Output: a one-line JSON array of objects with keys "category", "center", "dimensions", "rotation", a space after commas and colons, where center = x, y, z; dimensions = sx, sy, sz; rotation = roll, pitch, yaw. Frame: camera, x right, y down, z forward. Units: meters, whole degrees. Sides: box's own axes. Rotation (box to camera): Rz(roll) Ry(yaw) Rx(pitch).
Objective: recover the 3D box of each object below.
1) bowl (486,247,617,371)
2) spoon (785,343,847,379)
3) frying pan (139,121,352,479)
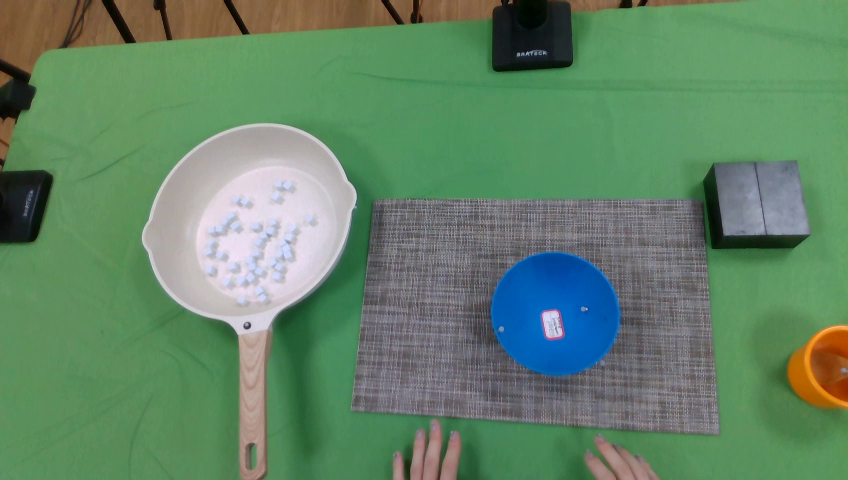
[{"category": "bowl", "center": [0.156, 0.092, 0.748], "dimensions": [0.151, 0.077, 0.150], "rotation": [-3, 71, 8]}, {"category": "spoon", "center": [0.493, 0.132, 0.648], "dimensions": [0.022, 0.193, 0.041], "rotation": [24, 70, -30]}, {"category": "frying pan", "center": [-0.231, 0.064, 0.809], "dimensions": [0.306, 0.104, 0.483], "rotation": [-11, 61, 6]}]
